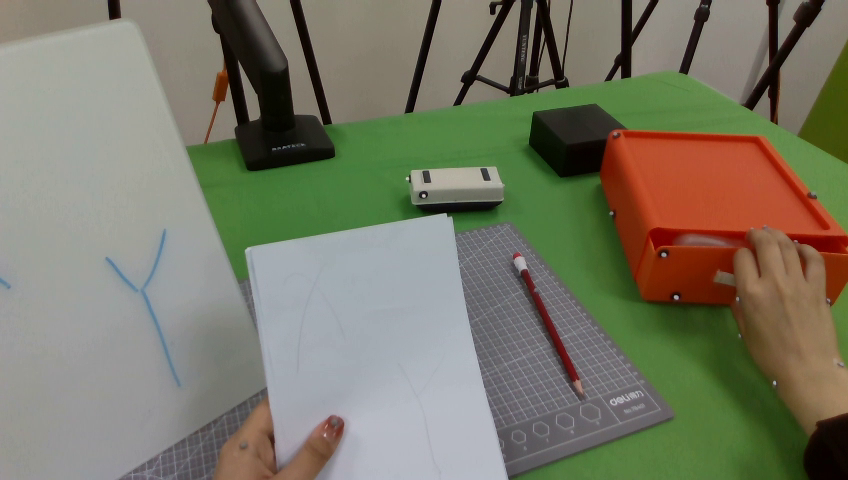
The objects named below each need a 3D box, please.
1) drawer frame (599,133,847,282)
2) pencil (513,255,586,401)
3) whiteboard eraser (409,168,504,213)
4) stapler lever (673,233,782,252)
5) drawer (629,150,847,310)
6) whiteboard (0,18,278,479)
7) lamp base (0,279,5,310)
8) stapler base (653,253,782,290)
[{"bbox_3d":[0.323,-0.038,0.693,0.202,0.083,0.211,2,37,1],"label":"drawer frame"},{"bbox_3d":[0.119,0.078,0.587,0.012,0.012,0.192,-6,40,-10],"label":"pencil"},{"bbox_3d":[0.039,-0.060,0.745,0.113,0.042,0.055,-2,39,-6],"label":"whiteboard eraser"},{"bbox_3d":[0.314,0.012,0.618,0.118,0.040,0.026,2,53,-2],"label":"stapler lever"},{"bbox_3d":[0.322,-0.020,0.670,0.194,0.074,0.210,2,37,2],"label":"drawer"},{"bbox_3d":[-0.279,0.021,0.451,0.217,0.307,0.142,-29,28,-33],"label":"whiteboard"},{"bbox_3d":[-0.489,0.008,0.513,0.178,0.182,0.160,12,38,17],"label":"lamp base"},{"bbox_3d":[0.312,0.029,0.639,0.130,0.024,0.041,1,53,-1],"label":"stapler base"}]
